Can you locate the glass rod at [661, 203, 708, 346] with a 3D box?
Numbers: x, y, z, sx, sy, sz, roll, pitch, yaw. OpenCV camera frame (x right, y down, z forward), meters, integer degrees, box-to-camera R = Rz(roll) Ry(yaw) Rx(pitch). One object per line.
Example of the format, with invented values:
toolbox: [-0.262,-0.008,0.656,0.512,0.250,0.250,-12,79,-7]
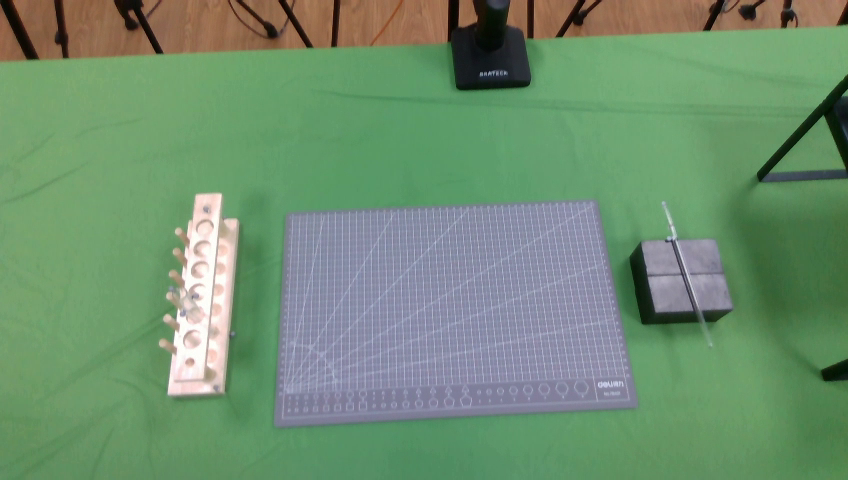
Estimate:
glass rod: [0.335,0.040,0.780,0.008,0.008,0.198,-5,66,-3]

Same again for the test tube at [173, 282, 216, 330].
test tube: [-0.264,0.080,0.704,0.017,0.151,0.017,3,66,-6]

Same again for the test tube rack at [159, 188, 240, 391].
test tube rack: [-0.287,0.061,0.768,0.067,0.086,0.240,-2,65,-2]
